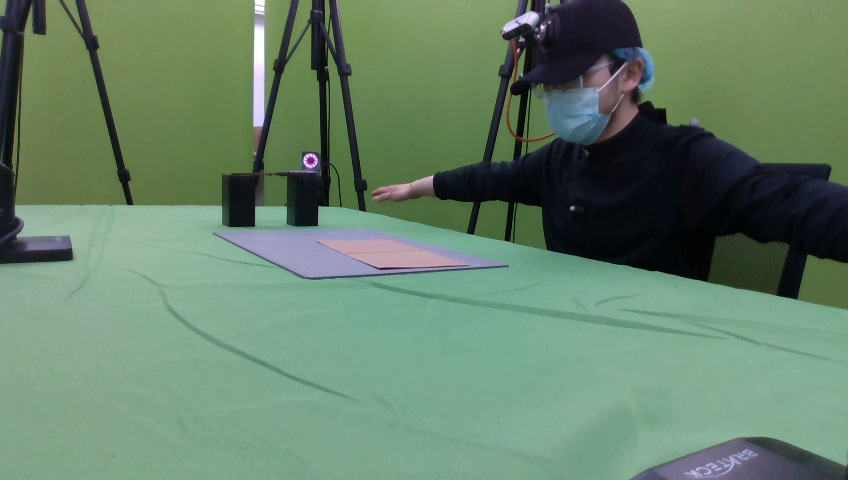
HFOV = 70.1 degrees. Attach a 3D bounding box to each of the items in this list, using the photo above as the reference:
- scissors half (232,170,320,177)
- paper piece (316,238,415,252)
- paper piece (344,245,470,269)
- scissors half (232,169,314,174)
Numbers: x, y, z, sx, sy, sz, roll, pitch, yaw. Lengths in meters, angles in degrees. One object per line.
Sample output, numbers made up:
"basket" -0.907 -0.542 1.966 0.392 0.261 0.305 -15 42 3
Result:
"scissors half" -0.293 -0.133 1.212 0.176 0.013 0.040 -2 10 -24
"paper piece" -0.088 0.006 0.964 0.136 0.004 0.135 -2 8 -27
"paper piece" -0.027 0.024 0.847 0.137 0.008 0.137 -5 11 -26
"scissors half" -0.304 -0.138 1.228 0.176 0.013 0.040 -7 18 -41
